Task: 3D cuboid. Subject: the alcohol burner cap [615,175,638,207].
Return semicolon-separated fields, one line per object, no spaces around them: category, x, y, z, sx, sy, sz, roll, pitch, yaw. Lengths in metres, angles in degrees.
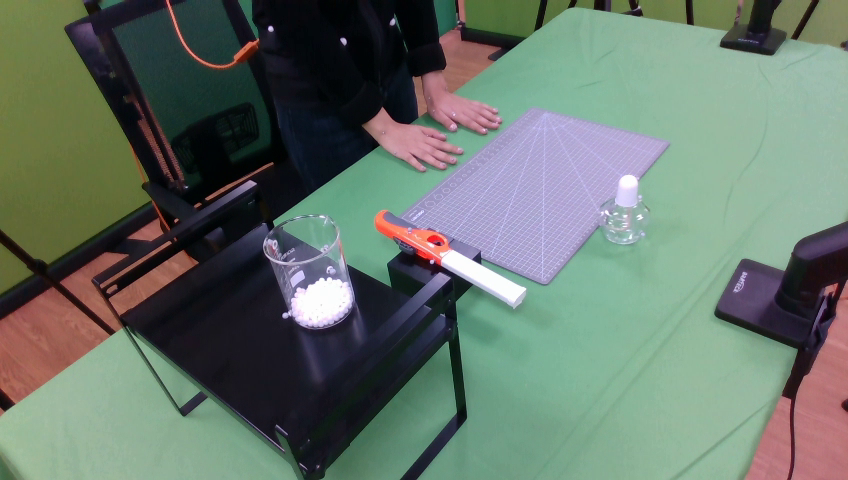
alcohol burner cap;0.303;-0.076;0.901;0.034;0.048;0.033;-5;43;5

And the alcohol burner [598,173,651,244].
alcohol burner;0.307;-0.052;0.920;0.078;0.119;0.077;-6;42;6

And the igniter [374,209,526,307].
igniter;0.026;0.019;0.873;0.274;0.025;0.057;29;52;31

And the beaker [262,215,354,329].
beaker;-0.112;0.034;0.616;0.073;0.101;0.084;13;44;23
